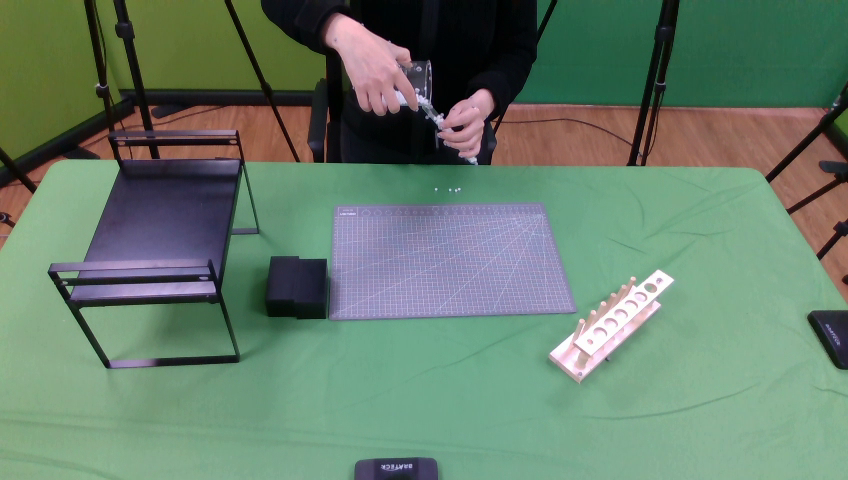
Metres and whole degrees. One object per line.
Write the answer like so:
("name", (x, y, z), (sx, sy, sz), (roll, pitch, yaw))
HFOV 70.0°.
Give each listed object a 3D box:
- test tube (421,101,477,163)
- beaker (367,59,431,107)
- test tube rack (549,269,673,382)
("test tube", (0.047, -0.185, 1.054), (0.017, 0.151, 0.017), (-29, 38, 25))
("beaker", (-0.042, -0.252, 0.979), (0.100, 0.084, 0.073), (0, 50, -6))
("test tube rack", (0.325, 0.134, 1.047), (0.242, 0.085, 0.066), (-32, 56, -30))
